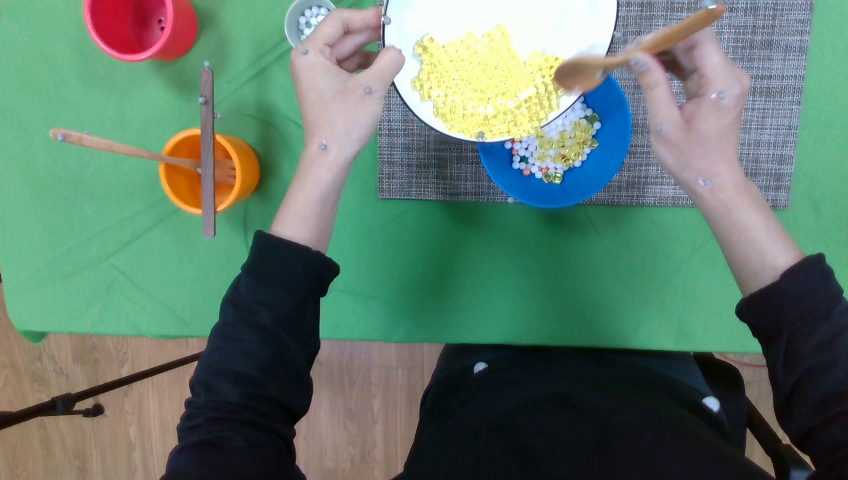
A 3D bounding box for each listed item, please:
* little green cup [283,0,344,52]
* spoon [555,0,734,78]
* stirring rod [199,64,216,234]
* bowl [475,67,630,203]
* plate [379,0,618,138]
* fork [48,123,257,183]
[{"bbox_3d":[-0.116,-0.232,0.653,0.061,0.038,0.062,1,102,7],"label":"little green cup"},{"bbox_3d":[0.162,-0.153,0.470,0.042,0.192,0.021,29,87,-19],"label":"spoon"},{"bbox_3d":[-0.226,-0.093,0.633,0.014,0.006,0.176,4,102,4],"label":"stirring rod"},{"bbox_3d":[0.128,-0.117,0.627,0.151,0.076,0.152,1,101,6],"label":"bowl"},{"bbox_3d":[0.062,-0.190,0.523,0.209,0.037,0.211,-8,129,-9],"label":"plate"},{"bbox_3d":[-0.278,-0.091,0.641,0.209,0.018,0.028,10,109,-40],"label":"fork"}]
